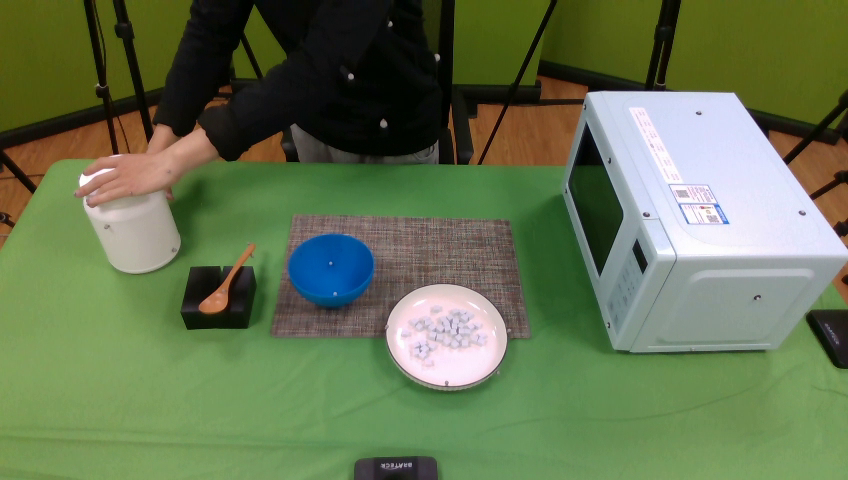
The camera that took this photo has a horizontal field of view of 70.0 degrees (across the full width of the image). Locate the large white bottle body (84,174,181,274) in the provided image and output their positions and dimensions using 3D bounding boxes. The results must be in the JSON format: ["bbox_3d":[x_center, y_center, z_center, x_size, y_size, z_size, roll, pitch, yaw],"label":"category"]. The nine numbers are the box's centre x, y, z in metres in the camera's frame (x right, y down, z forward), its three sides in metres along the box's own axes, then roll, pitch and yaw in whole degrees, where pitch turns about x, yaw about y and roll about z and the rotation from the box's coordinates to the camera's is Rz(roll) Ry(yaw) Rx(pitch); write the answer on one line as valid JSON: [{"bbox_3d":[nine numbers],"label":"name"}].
[{"bbox_3d":[-0.524,-0.044,1.089,0.131,0.185,0.130,2,46,-2],"label":"large white bottle body"}]

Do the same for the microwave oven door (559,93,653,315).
[{"bbox_3d":[0.327,-0.074,1.123,0.039,0.245,0.353,-1,46,-5],"label":"microwave oven door"}]

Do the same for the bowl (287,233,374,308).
[{"bbox_3d":[-0.164,0.068,1.078,0.151,0.077,0.150,2,45,-2],"label":"bowl"}]

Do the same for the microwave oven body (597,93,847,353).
[{"bbox_3d":[0.475,-0.041,1.109,0.326,0.261,0.438,-1,45,-4],"label":"microwave oven body"}]

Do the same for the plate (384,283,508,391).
[{"bbox_3d":[0.036,0.166,1.029,0.209,0.038,0.208,2,49,-2],"label":"plate"}]

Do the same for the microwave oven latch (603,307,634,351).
[{"bbox_3d":[0.332,0.153,1.044,0.030,0.029,0.078,0,45,-4],"label":"microwave oven latch"}]

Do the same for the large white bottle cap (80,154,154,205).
[{"bbox_3d":[-0.520,-0.104,1.027,0.115,0.018,0.114,2,46,-1],"label":"large white bottle cap"}]

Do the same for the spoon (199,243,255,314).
[{"bbox_3d":[-0.333,0.063,1.051,0.041,0.022,0.193,6,40,9],"label":"spoon"}]
